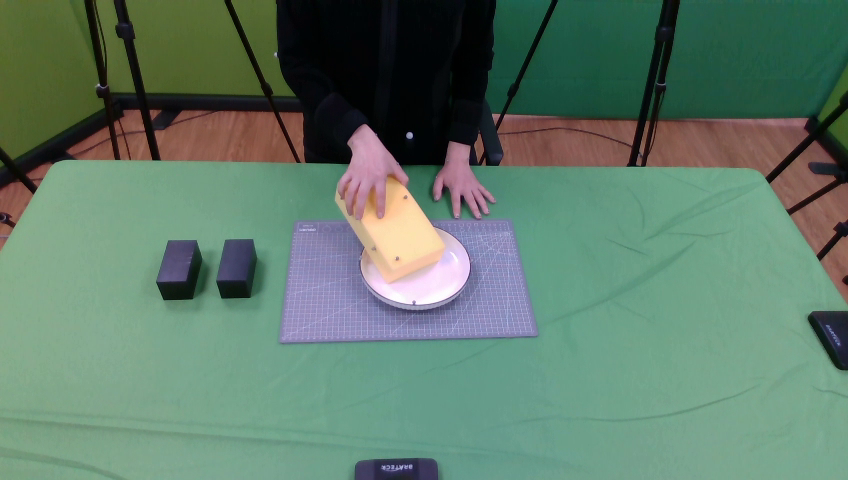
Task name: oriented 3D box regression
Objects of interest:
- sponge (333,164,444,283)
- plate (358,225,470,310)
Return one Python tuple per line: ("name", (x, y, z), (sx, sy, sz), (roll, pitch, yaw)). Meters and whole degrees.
("sponge", (-0.069, -0.034, 1.145), (0.118, 0.061, 0.206), (-25, 69, -26))
("plate", (-0.019, 0.052, 1.132), (0.209, 0.038, 0.208), (2, 46, -2))
